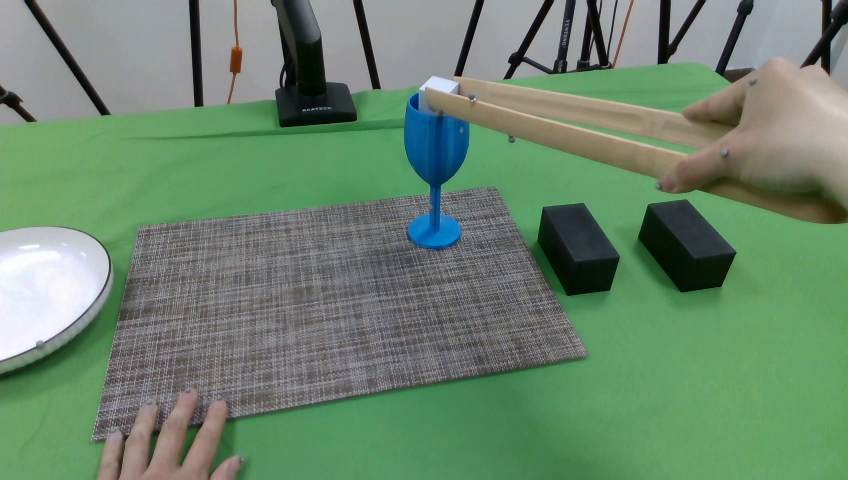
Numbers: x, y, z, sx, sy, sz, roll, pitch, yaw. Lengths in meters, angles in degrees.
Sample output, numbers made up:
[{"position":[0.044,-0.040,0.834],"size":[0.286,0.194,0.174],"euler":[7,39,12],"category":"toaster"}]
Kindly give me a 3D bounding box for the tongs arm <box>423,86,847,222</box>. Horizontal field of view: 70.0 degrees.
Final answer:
[{"position":[0.136,-0.085,0.484],"size":[0.051,0.027,0.381],"euler":[-28,37,-28],"category":"tongs arm"}]

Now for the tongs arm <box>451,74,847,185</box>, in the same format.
[{"position":[0.155,-0.097,0.497],"size":[0.028,0.028,0.383],"euler":[-27,37,-33],"category":"tongs arm"}]

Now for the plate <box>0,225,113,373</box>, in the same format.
[{"position":[-0.422,0.061,0.610],"size":[0.209,0.038,0.207],"euler":[1,40,0],"category":"plate"}]

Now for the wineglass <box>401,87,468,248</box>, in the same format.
[{"position":[0.011,-0.077,0.679],"size":[0.074,0.174,0.073],"euler":[1,40,0],"category":"wineglass"}]
